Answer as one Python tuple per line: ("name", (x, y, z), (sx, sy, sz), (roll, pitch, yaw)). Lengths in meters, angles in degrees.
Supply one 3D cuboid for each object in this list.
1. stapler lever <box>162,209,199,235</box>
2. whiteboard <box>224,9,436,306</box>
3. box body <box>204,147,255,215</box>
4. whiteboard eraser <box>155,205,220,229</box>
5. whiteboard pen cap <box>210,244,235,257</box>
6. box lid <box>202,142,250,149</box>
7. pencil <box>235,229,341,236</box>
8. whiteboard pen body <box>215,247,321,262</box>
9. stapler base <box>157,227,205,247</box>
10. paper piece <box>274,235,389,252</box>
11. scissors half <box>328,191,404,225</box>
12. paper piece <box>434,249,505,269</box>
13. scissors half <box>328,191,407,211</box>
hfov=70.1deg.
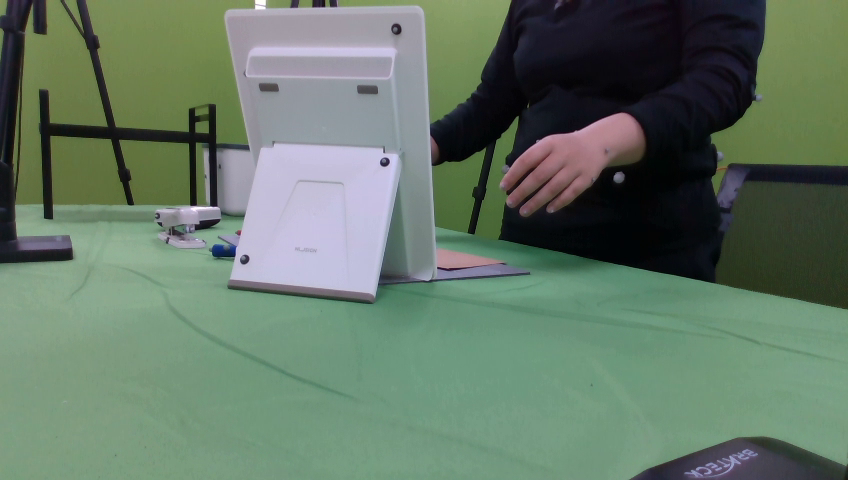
("stapler lever", (-0.376, -0.031, 0.933), (0.027, 0.040, 0.117), (1, 6, -38))
("whiteboard", (-0.117, -0.065, 0.617), (0.217, 0.305, 0.144), (5, 29, 16))
("box body", (-0.347, -0.152, 1.519), (0.366, 0.160, 0.253), (-2, 9, -31))
("whiteboard eraser", (-0.428, -0.042, 1.100), (0.055, 0.042, 0.113), (7, 8, 19))
("whiteboard pen cap", (-0.266, 0.015, 0.806), (0.033, 0.018, 0.018), (2, 7, -1))
("box lid", (-0.344, -0.225, 1.509), (0.373, 0.015, 0.262), (-2, 8, -31))
("pencil", (-0.232, -0.012, 1.053), (0.195, 0.012, 0.012), (0, 8, -36))
("whiteboard pen body", (-0.208, 0.018, 0.805), (0.141, 0.017, 0.017), (2, 7, 1))
("stapler base", (-0.376, -0.007, 0.935), (0.041, 0.024, 0.130), (1, 5, -38))
("paper piece", (-0.151, 0.003, 0.978), (0.135, 0.008, 0.139), (13, 10, 35))
("scissors half", (-0.127, -0.073, 1.320), (0.175, 0.040, 0.013), (23, 8, -6))
("paper piece", (0.025, 0.026, 0.865), (0.134, 0.004, 0.136), (9, 9, 43))
("scissors half", (-0.123, -0.092, 1.316), (0.175, 0.040, 0.013), (6, 14, -3))
